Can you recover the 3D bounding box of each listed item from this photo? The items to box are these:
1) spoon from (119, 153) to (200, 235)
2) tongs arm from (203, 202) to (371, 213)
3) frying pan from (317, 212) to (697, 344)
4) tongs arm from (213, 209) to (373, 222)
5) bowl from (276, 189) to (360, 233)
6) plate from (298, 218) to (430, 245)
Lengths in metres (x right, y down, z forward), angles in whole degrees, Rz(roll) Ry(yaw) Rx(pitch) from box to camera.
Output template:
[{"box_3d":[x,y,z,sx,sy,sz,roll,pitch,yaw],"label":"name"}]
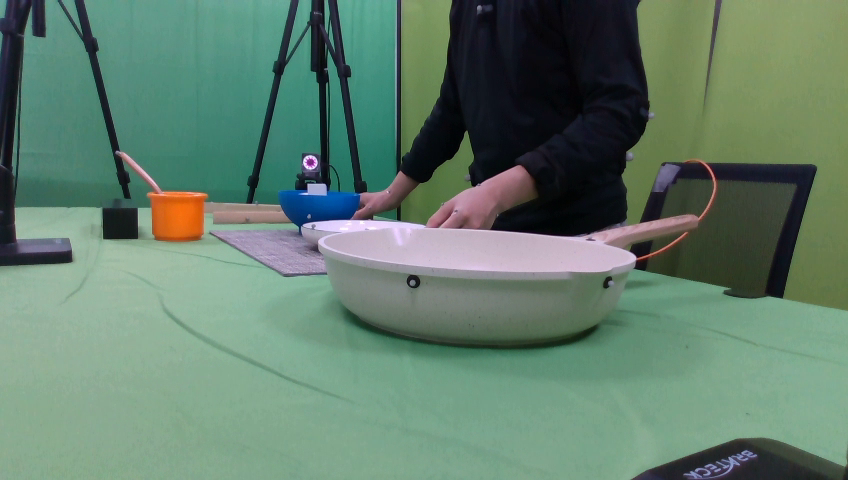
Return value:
[{"box_3d":[-0.439,-0.077,1.000,0.021,0.193,0.042,-43,-7,21],"label":"spoon"},{"box_3d":[-0.312,-0.069,1.417,0.387,0.026,0.050,1,8,-24],"label":"tongs arm"},{"box_3d":[0.133,0.013,0.629,0.490,0.102,0.305,-12,14,-31],"label":"frying pan"},{"box_3d":[-0.275,-0.055,1.347,0.390,0.028,0.028,-2,6,-36],"label":"tongs arm"},{"box_3d":[-0.195,-0.051,1.114,0.151,0.077,0.151,2,7,0],"label":"bowl"},{"box_3d":[-0.091,-0.006,0.949,0.208,0.039,0.207,2,7,0],"label":"plate"}]
